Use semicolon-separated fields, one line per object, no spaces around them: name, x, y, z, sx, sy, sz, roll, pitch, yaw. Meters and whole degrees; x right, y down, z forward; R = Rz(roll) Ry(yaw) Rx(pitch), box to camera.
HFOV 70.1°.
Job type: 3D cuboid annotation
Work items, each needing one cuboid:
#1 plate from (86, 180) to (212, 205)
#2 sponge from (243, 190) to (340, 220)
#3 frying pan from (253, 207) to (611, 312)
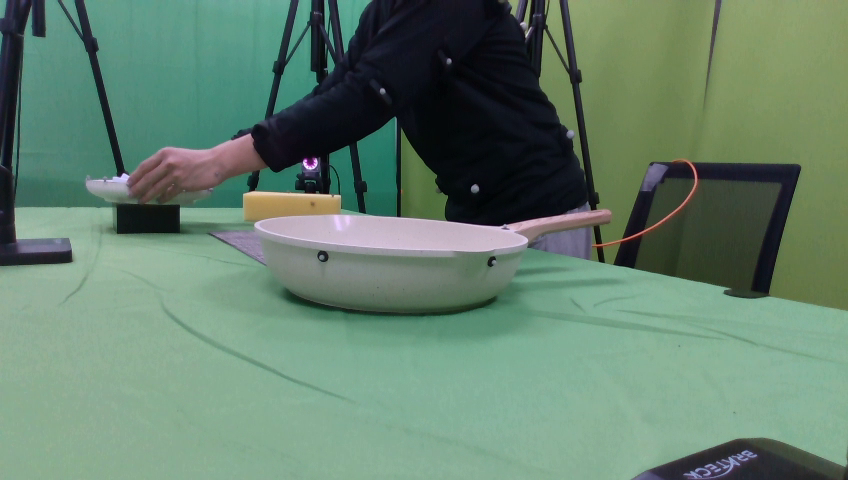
plate;-0.497;-0.087;1.103;0.208;0.039;0.207;3;6;0
sponge;-0.298;-0.077;1.387;0.207;0.061;0.118;2;7;-7
frying pan;0.052;-0.001;0.715;0.490;0.102;0.305;-11;15;-31
